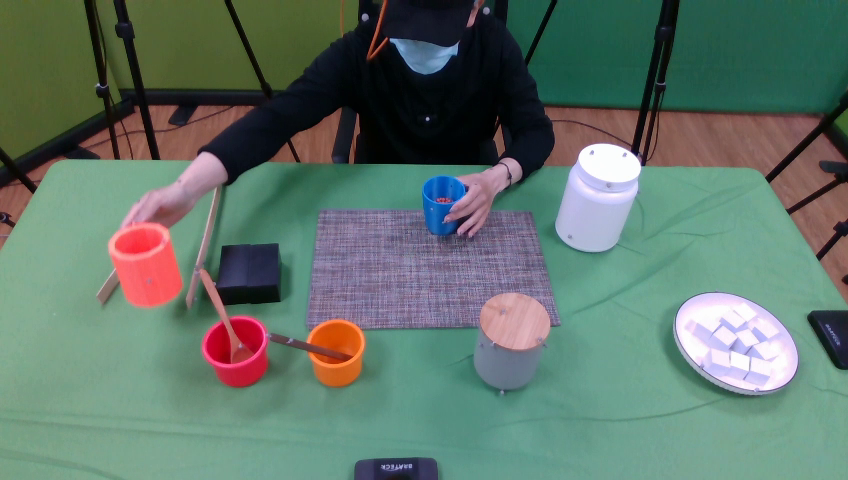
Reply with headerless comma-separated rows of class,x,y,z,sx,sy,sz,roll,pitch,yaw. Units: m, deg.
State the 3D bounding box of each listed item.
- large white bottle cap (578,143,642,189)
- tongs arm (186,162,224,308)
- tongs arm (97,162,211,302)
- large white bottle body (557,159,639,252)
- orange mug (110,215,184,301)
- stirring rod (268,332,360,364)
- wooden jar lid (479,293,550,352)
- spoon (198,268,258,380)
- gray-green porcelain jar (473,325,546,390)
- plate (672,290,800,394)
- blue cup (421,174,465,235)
large white bottle cap,0.344,-0.139,1.123,0.115,0.018,0.114,2,46,-2
tongs arm,-0.435,-0.025,1.180,0.051,0.026,0.382,-1,45,-1
tongs arm,-0.518,-0.030,1.182,0.028,0.028,0.385,6,45,12
large white bottle body,0.340,-0.081,1.185,0.131,0.185,0.130,2,46,-1
orange mug,-0.433,0.020,0.946,0.083,0.101,0.125,-14,44,-21
stirring rod,-0.167,0.169,0.942,0.177,0.006,0.014,26,28,-41
wooden jar lid,0.137,0.127,0.925,0.108,0.021,0.107,1,47,-1
spoon,-0.313,0.133,0.962,0.041,0.021,0.194,-24,95,-32
gray-green porcelain jar,0.134,0.170,0.969,0.106,0.127,0.105,2,46,-2
plate,0.533,0.179,1.050,0.208,0.039,0.206,2,46,-2
blue cup,0.037,-0.065,1.201,0.092,0.101,0.092,1,48,0
